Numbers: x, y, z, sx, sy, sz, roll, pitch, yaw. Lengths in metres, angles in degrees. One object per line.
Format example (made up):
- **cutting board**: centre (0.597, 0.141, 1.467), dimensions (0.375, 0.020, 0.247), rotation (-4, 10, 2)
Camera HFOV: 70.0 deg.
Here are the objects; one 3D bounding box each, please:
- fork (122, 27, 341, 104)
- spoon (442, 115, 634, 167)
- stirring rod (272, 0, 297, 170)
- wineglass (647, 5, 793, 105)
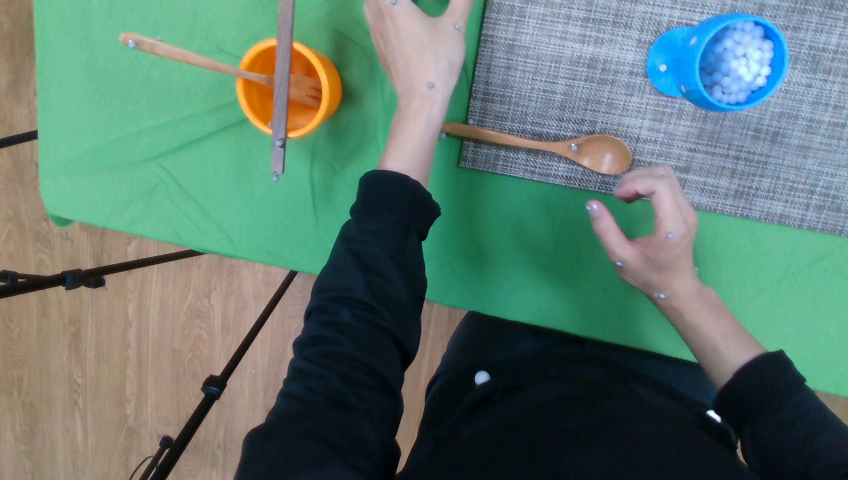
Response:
- **fork**: centre (-0.172, -0.164, 0.573), dimensions (0.209, 0.018, 0.028), rotation (7, 122, -40)
- **spoon**: centre (0.113, -0.106, 0.612), dimensions (0.193, 0.021, 0.042), rotation (10, 129, 5)
- **stirring rod**: centre (-0.131, -0.152, 0.568), dimensions (0.014, 0.006, 0.177), rotation (11, 109, 6)
- **wineglass**: centre (0.234, -0.152, 0.500), dimensions (0.073, 0.171, 0.074), rotation (2, 108, 8)
